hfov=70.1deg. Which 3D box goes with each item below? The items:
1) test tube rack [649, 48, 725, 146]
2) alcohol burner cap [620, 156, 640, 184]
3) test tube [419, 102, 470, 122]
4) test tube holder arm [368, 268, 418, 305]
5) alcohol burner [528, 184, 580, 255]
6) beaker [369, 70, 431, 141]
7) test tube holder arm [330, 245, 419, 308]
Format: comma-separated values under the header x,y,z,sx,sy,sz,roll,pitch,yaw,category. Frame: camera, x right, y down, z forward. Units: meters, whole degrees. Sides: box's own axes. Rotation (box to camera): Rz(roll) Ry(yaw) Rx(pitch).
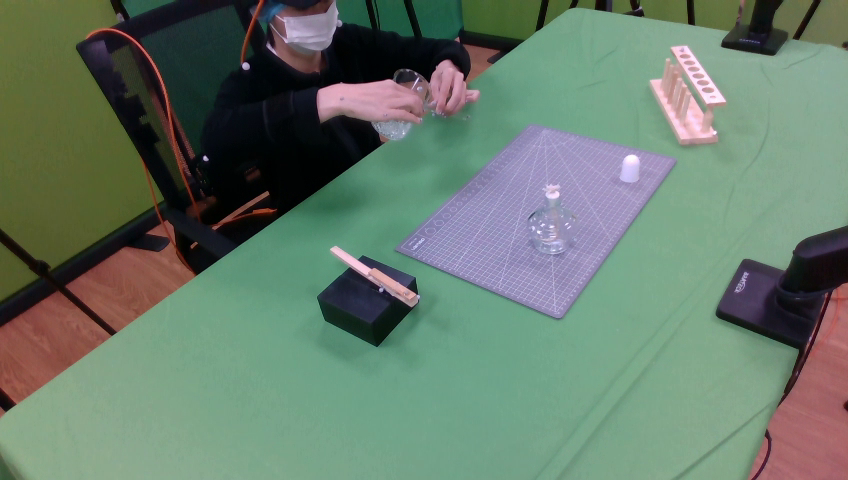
x,y,z,sx,sy,sz,roll,pitch,yaw,category
0.508,-0.285,1.186,0.067,0.085,0.241,-4,40,6,test tube rack
0.358,-0.124,1.047,0.034,0.048,0.033,-4,40,4,alcohol burner cap
0.041,-0.237,1.122,0.017,0.017,0.151,24,15,33,test tube
-0.043,0.063,0.827,0.015,0.010,0.087,-37,47,-29,test tube holder arm
0.196,-0.036,0.911,0.078,0.119,0.077,-6,41,5,alcohol burner
-0.040,-0.221,1.017,0.073,0.084,0.100,8,58,39,beaker
-0.074,0.049,0.857,0.177,0.013,0.015,30,53,36,test tube holder arm
